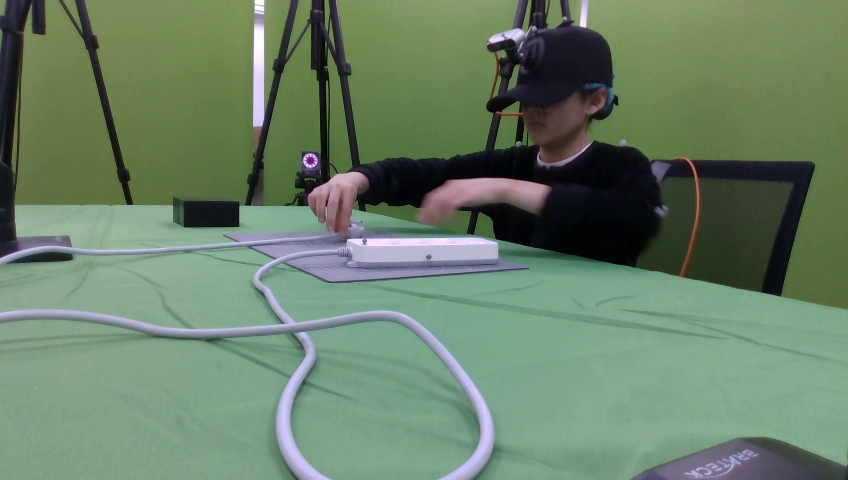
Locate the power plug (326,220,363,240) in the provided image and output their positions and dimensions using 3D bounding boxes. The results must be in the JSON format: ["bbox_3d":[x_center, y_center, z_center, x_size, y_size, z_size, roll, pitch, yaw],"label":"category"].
[{"bbox_3d":[-0.137,-0.020,1.022,0.073,0.035,0.052,14,7,-36],"label":"power plug"}]

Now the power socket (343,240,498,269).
[{"bbox_3d":[-0.002,0.018,0.829,0.228,0.032,0.072,0,7,-24],"label":"power socket"}]
